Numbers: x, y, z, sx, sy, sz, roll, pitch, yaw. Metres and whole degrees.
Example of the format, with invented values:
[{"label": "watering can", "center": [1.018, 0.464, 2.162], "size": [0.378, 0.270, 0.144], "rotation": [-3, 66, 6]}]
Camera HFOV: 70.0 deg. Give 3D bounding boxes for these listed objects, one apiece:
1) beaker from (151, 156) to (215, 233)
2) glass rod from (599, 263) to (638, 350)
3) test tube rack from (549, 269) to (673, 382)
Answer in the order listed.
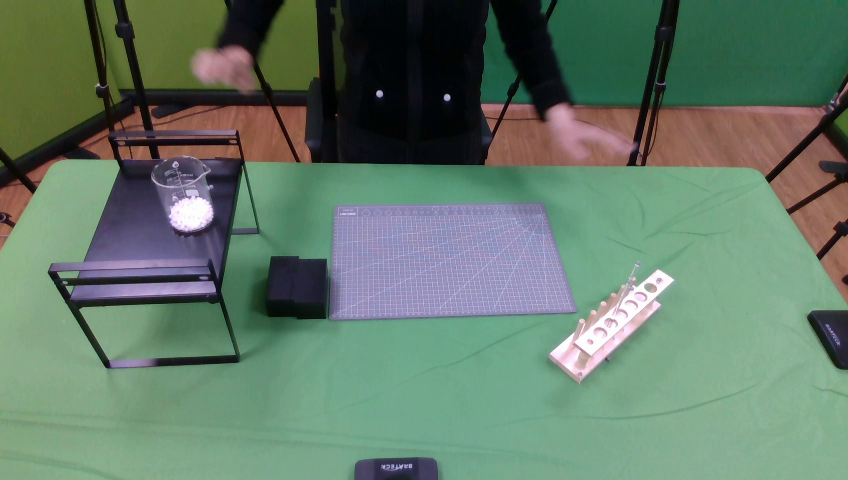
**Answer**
[{"label": "beaker", "center": [-0.364, -0.068, 0.933], "size": [0.084, 0.101, 0.073], "rotation": [-11, 48, -15]}, {"label": "glass rod", "center": [0.311, 0.112, 0.976], "size": [0.008, 0.200, 0.008], "rotation": [4, 40, -3]}, {"label": "test tube rack", "center": [0.325, 0.134, 1.047], "size": [0.242, 0.085, 0.066], "rotation": [-32, 56, -30]}]
